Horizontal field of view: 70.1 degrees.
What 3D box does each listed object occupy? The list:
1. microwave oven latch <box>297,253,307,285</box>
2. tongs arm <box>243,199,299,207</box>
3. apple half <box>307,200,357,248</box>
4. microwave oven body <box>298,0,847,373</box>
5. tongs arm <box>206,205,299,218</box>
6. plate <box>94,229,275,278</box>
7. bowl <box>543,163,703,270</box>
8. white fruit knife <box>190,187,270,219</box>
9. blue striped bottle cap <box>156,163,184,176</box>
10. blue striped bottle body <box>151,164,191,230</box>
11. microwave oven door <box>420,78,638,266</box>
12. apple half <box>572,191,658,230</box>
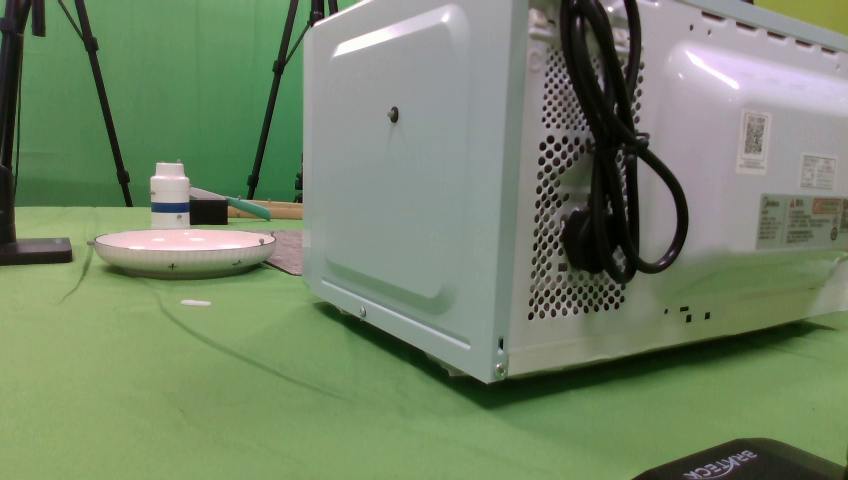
[{"bbox_3d":[-0.082,0.027,0.582,0.079,0.029,0.030,-1,7,-32],"label":"microwave oven latch"},{"bbox_3d":[-0.309,-0.079,1.487,0.385,0.026,0.050,3,8,-2],"label":"tongs arm"},{"bbox_3d":[-0.136,-0.024,0.942,0.053,0.074,0.081,15,10,38],"label":"apple half"},{"bbox_3d":[0.151,-0.055,0.543,0.444,0.260,0.324,-1,7,-33],"label":"microwave oven body"},{"bbox_3d":[-0.302,-0.065,1.407,0.389,0.028,0.028,1,5,-15],"label":"tongs arm"},{"bbox_3d":[-0.291,0.016,0.750,0.208,0.039,0.207,2,7,0],"label":"plate"},{"bbox_3d":[0.181,-0.019,0.588,0.151,0.077,0.151,14,7,-1],"label":"bowl"},{"bbox_3d":[-0.413,-0.081,1.270,0.208,0.027,0.016,17,13,-41],"label":"white fruit knife"},{"bbox_3d":[-0.438,-0.121,1.045,0.044,0.020,0.044,4,6,0],"label":"blue striped bottle cap"},{"bbox_3d":[-0.439,-0.071,1.052,0.063,0.120,0.063,2,7,0],"label":"blue striped bottle body"},{"bbox_3d":[0.134,-0.105,0.895,0.354,0.243,0.039,9,10,44],"label":"microwave oven door"},{"bbox_3d":[0.182,-0.030,0.586,0.081,0.033,0.081,5,-7,1],"label":"apple half"}]
